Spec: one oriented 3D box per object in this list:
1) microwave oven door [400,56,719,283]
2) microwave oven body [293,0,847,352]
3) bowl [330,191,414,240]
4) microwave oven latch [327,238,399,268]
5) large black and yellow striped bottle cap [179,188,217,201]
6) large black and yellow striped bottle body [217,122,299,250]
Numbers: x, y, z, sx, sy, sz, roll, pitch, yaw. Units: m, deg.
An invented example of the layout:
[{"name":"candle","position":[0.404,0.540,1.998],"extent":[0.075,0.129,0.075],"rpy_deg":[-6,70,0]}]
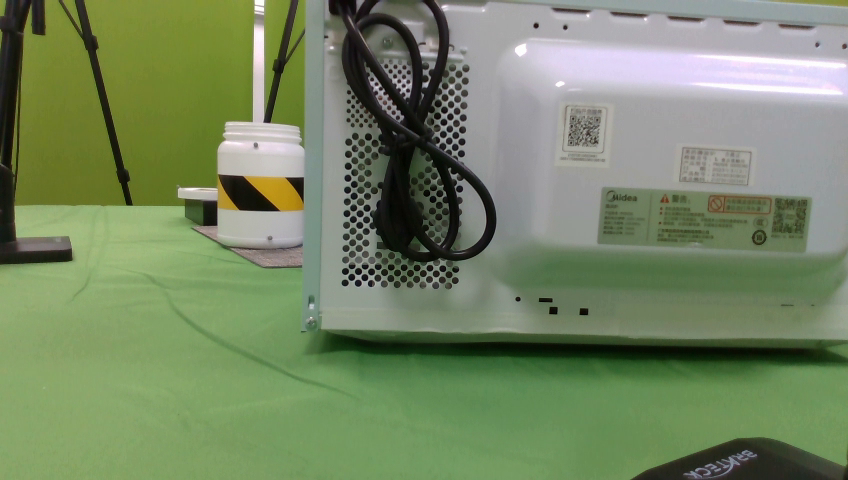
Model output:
[{"name":"microwave oven door","position":[0.155,-0.077,0.698],"extent":[0.356,0.243,0.039],"rpy_deg":[2,8,-5]},{"name":"microwave oven body","position":[0.122,-0.055,0.550],"extent":[0.442,0.260,0.325],"rpy_deg":[3,7,-5]},{"name":"bowl","position":[-0.095,-0.044,1.096],"extent":[0.151,0.077,0.151],"rpy_deg":[3,8,0]},{"name":"microwave oven latch","position":[-0.069,0.015,0.694],"extent":[0.079,0.029,0.030],"rpy_deg":[3,7,-3]},{"name":"large black and yellow striped bottle cap","position":[-0.434,-0.093,1.226],"extent":[0.115,0.019,0.115],"rpy_deg":[3,9,0]},{"name":"large black and yellow striped bottle body","position":[-0.250,-0.084,0.931],"extent":[0.131,0.184,0.130],"rpy_deg":[2,7,0]}]
